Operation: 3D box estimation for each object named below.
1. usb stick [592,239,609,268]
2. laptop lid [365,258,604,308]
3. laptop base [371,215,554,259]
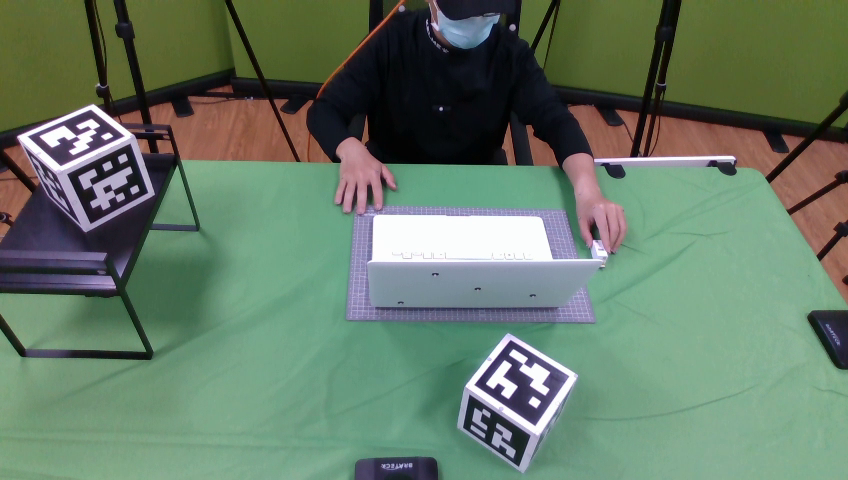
[{"bbox_3d":[0.347,0.028,1.188,0.021,0.027,0.059,4,48,-5],"label":"usb stick"},{"bbox_3d":[0.085,0.074,0.978,0.357,0.242,0.013,1,67,-5],"label":"laptop lid"},{"bbox_3d":[0.075,0.037,1.167,0.355,0.023,0.234,0,43,-4],"label":"laptop base"}]
